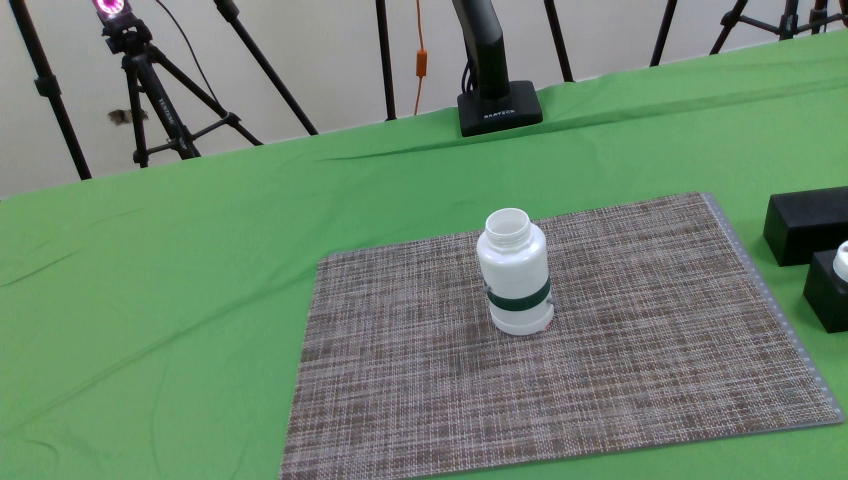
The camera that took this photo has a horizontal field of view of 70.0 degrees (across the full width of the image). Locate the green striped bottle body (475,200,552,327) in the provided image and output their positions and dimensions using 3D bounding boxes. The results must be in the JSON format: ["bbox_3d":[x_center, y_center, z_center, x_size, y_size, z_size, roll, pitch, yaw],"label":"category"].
[{"bbox_3d":[0.083,0.021,0.564,0.063,0.120,0.062,-9,41,8],"label":"green striped bottle body"}]

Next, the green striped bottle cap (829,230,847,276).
[{"bbox_3d":[0.360,0.011,0.496,0.044,0.020,0.044,-7,41,6],"label":"green striped bottle cap"}]
